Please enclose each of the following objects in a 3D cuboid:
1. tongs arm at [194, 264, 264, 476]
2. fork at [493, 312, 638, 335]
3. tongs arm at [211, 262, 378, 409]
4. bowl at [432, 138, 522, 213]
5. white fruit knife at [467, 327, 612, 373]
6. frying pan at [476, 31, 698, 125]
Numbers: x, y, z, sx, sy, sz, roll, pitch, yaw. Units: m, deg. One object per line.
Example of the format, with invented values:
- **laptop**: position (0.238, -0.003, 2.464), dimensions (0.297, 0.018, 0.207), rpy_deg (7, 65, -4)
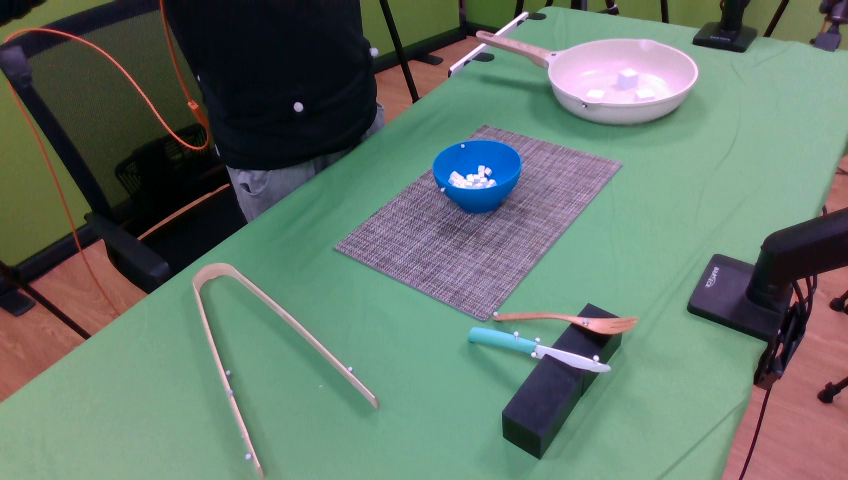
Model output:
- **tongs arm**: position (-0.259, 0.153, 0.816), dimensions (0.051, 0.026, 0.381), rpy_deg (-24, 42, -20)
- **fork**: position (0.173, 0.103, 0.774), dimensions (0.206, 0.019, 0.028), rpy_deg (0, 41, 40)
- **tongs arm**: position (-0.192, 0.121, 0.850), dimensions (0.028, 0.028, 0.384), rpy_deg (-37, 48, -27)
- **bowl**: position (0.091, -0.100, 1.021), dimensions (0.151, 0.077, 0.150), rpy_deg (-4, 41, 4)
- **white fruit knife**: position (0.134, 0.134, 0.742), dimensions (0.205, 0.027, 0.016), rpy_deg (7, 34, 41)
- **frying pan**: position (0.321, -0.371, 1.290), dimensions (0.484, 0.103, 0.307), rpy_deg (29, 51, 23)
